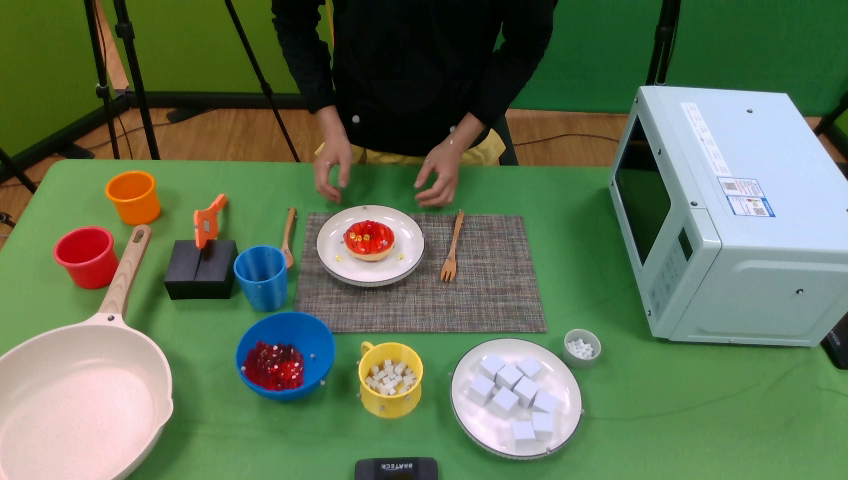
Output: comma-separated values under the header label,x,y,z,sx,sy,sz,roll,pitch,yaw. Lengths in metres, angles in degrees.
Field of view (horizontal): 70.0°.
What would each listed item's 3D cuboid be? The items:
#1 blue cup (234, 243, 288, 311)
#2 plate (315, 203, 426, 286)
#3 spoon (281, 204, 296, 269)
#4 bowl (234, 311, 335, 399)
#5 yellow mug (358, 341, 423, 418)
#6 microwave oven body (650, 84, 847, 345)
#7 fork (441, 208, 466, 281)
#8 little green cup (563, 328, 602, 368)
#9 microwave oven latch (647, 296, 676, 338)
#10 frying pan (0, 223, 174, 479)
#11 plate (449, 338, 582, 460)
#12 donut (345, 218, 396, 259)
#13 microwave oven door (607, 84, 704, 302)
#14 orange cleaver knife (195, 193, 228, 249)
label,x,y,z,sx,sy,sz,roll,pitch,yaw
blue cup,-0.276,0.072,1.052,0.093,0.101,0.092,1,48,-1
plate,-0.101,0.012,1.159,0.209,0.038,0.208,2,46,-2
spoon,-0.266,-0.008,1.181,0.041,0.022,0.192,-14,46,12
bowl,-0.214,0.194,0.956,0.151,0.077,0.150,2,46,-2
yellow mug,-0.063,0.210,0.960,0.100,0.064,0.130,-29,54,-28
microwave oven body,0.569,-0.054,1.116,0.326,0.261,0.439,2,46,-1
fork,0.061,0.005,1.190,0.028,0.019,0.206,2,47,14
little green cup,0.265,0.184,1.025,0.061,0.039,0.061,1,46,-1
microwave oven latch,0.413,0.133,1.060,0.030,0.029,0.078,4,46,1
frying pan,-0.505,0.169,0.941,0.307,0.103,0.485,5,54,-1
plate,0.141,0.251,0.955,0.208,0.039,0.206,2,46,-2
donut,-0.102,-0.003,1.157,0.099,0.048,0.098,3,43,-3
microwave oven door,0.424,-0.096,1.138,0.039,0.245,0.353,3,46,-1
orange cleaver knife,-0.406,-0.041,1.163,0.012,0.077,0.210,0,18,-3
